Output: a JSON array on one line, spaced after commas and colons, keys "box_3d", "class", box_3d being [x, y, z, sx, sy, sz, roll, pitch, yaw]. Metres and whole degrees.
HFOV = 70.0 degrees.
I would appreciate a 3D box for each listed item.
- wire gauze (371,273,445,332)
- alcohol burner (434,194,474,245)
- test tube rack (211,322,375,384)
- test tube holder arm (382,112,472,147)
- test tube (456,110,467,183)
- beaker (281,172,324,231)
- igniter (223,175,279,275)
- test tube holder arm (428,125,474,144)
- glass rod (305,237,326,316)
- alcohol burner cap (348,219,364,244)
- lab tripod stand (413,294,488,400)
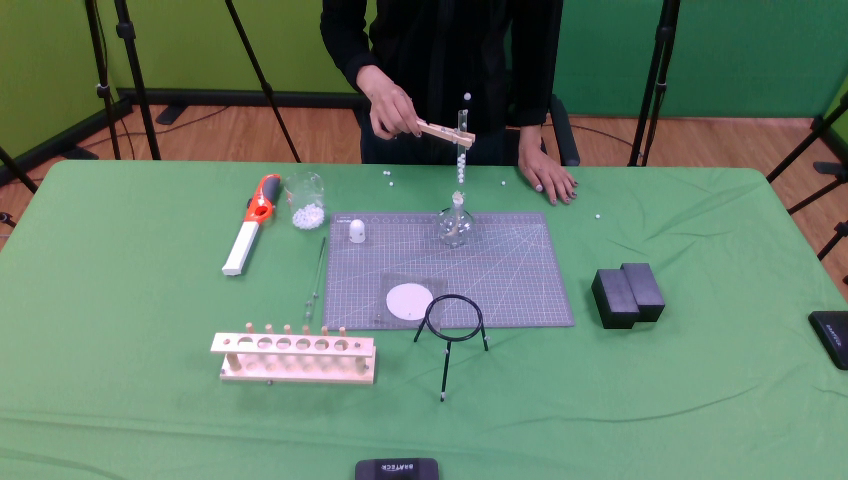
[{"box_3d": [-0.028, 0.108, 1.100, 0.125, 0.011, 0.121, 8, 45, 4], "class": "wire gauze"}, {"box_3d": [0.061, -0.046, 1.183, 0.078, 0.119, 0.077, 3, 47, -3], "class": "alcohol burner"}, {"box_3d": [-0.202, 0.176, 0.969, 0.242, 0.085, 0.066, 3, 46, -2], "class": "test tube rack"}, {"box_3d": [0.003, -0.198, 1.082, 0.178, 0.015, 0.013, 20, 39, 19], "class": "test tube holder arm"}, {"box_3d": [0.066, -0.163, 1.078, 0.017, 0.151, 0.017, -1, 42, 1], "class": "test tube"}, {"box_3d": [-0.234, -0.073, 1.199, 0.084, 0.101, 0.074, 24, 50, 17], "class": "beaker"}, {"box_3d": [-0.341, -0.039, 1.207, 0.057, 0.025, 0.275, -1, 45, 8], "class": "igniter"}, {"box_3d": [0.046, -0.188, 1.073, 0.087, 0.015, 0.010, 16, 39, 14], "class": "test tube holder arm"}, {"box_3d": [-0.202, 0.063, 1.131, 0.008, 0.008, 0.198, 4, 44, 0], "class": "glass rod"}, {"box_3d": [-0.134, -0.019, 1.190, 0.034, 0.048, 0.033, 2, 45, -2], "class": "alcohol burner cap"}, {"box_3d": [0.044, 0.159, 0.972, 0.148, 0.132, 0.147, 2, 44, -2], "class": "lab tripod stand"}]
